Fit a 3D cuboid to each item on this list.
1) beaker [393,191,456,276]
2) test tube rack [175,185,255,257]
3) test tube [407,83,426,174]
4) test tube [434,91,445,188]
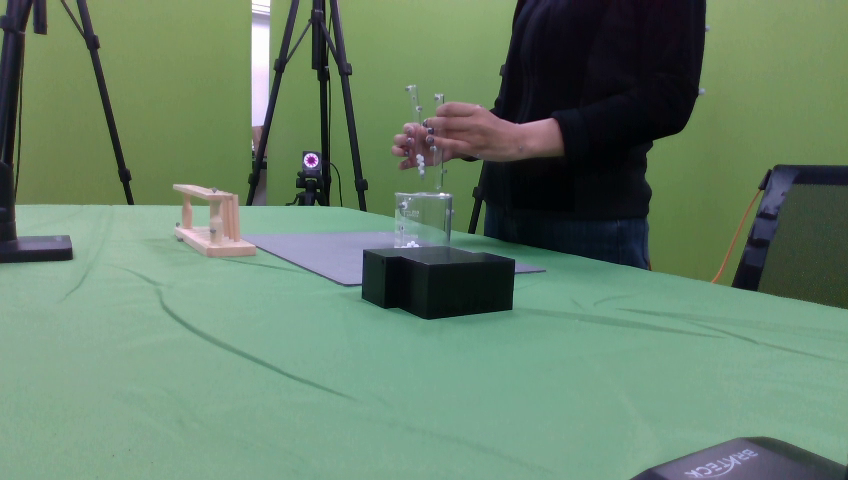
[{"bbox_3d":[-0.003,-0.010,0.749,0.074,0.100,0.083,-3,8,-40],"label":"beaker"},{"bbox_3d":[-0.324,-0.035,0.922,0.067,0.085,0.241,-2,9,-31],"label":"test tube rack"},{"bbox_3d":[-0.012,-0.186,1.013,0.017,0.150,0.017,-6,12,2],"label":"test tube"},{"bbox_3d":[0.023,-0.155,0.942,0.017,0.150,0.017,0,17,0],"label":"test tube"}]
